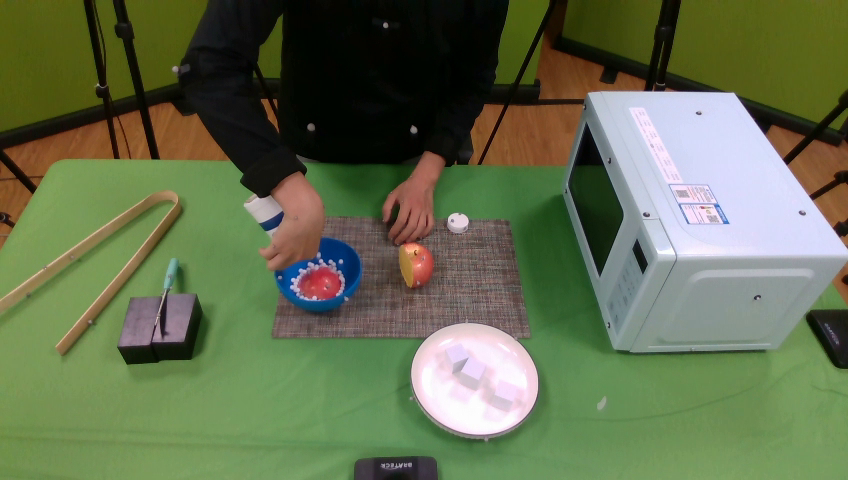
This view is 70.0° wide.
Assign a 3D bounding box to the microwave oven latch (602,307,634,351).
[{"bbox_3d":[0.332,0.153,1.044,0.030,0.029,0.078,-1,45,-4],"label":"microwave oven latch"}]

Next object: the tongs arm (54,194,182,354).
[{"bbox_3d":[-0.543,0.048,1.108,0.028,0.028,0.385,11,45,10],"label":"tongs arm"}]

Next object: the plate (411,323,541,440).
[{"bbox_3d":[0.082,0.228,0.976,0.208,0.039,0.206,2,45,-2],"label":"plate"}]

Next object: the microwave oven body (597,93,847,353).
[{"bbox_3d":[0.475,-0.041,1.109,0.326,0.261,0.438,-1,45,-4],"label":"microwave oven body"}]

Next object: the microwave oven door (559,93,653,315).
[{"bbox_3d":[0.327,-0.074,1.123,0.039,0.245,0.353,-1,46,-5],"label":"microwave oven door"}]

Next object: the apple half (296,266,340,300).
[{"bbox_3d":[-0.187,0.070,1.067,0.081,0.033,0.081,3,48,-3],"label":"apple half"}]

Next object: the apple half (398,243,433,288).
[{"bbox_3d":[-0.011,0.046,1.115,0.053,0.075,0.080,-10,44,-19],"label":"apple half"}]

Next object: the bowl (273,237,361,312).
[{"bbox_3d":[-0.186,0.075,1.069,0.151,0.077,0.150,3,45,-3],"label":"bowl"}]

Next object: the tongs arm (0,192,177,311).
[{"bbox_3d":[-0.618,0.019,1.124,0.050,0.026,0.384,24,47,16],"label":"tongs arm"}]

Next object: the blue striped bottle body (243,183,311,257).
[{"bbox_3d":[-0.240,-0.030,1.013,0.063,0.121,0.063,-30,21,13],"label":"blue striped bottle body"}]

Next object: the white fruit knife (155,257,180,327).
[{"bbox_3d":[-0.440,0.085,1.037,0.016,0.027,0.206,10,26,-19],"label":"white fruit knife"}]

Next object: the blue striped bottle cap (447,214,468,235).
[{"bbox_3d":[0.069,-0.033,1.239,0.044,0.021,0.044,2,46,-2],"label":"blue striped bottle cap"}]
